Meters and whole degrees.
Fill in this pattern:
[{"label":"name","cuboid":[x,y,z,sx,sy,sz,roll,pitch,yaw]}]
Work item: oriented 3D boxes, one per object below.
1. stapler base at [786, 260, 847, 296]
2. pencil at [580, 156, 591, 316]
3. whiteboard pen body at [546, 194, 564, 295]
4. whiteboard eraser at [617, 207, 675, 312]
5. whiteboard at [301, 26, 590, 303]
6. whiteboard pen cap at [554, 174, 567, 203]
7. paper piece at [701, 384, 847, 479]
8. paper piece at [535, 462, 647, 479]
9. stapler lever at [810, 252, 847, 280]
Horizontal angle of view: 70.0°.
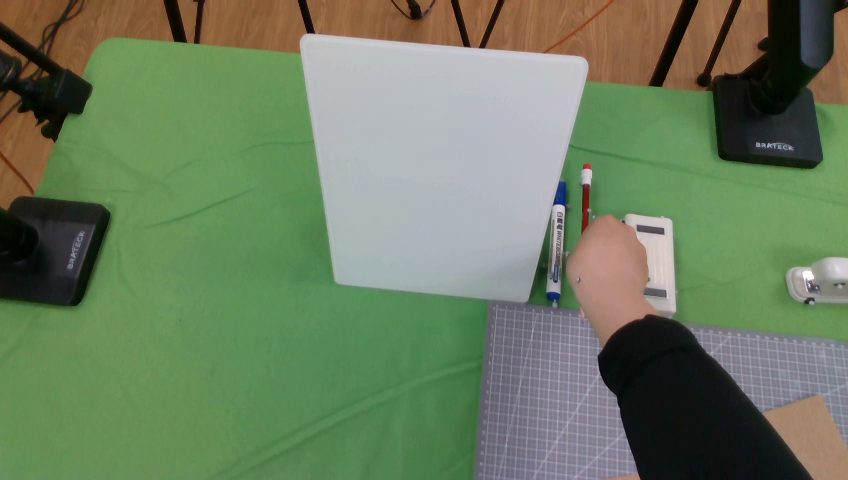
[{"label":"stapler base","cuboid":[0.471,0.040,0.667,0.130,0.024,0.041,1,71,-2]},{"label":"pencil","cuboid":[0.177,-0.009,0.665,0.012,0.012,0.192,7,66,3]},{"label":"whiteboard pen body","cuboid":[0.149,-0.006,0.687,0.017,0.017,0.140,6,69,3]},{"label":"whiteboard eraser","cuboid":[0.242,0.021,0.664,0.055,0.042,0.112,6,69,3]},{"label":"whiteboard","cuboid":[0.019,-0.094,0.600,0.217,0.308,0.142,6,49,3]},{"label":"whiteboard pen cap","cuboid":[0.160,-0.059,0.707,0.018,0.018,0.033,5,66,2]},{"label":"paper piece","cuboid":[0.363,0.228,0.597,0.136,0.009,0.137,-16,71,-2]},{"label":"paper piece","cuboid":[0.161,0.290,0.571,0.135,0.004,0.134,-8,69,-3]},{"label":"stapler lever","cuboid":[0.473,0.030,0.645,0.118,0.040,0.026,1,70,0]}]
